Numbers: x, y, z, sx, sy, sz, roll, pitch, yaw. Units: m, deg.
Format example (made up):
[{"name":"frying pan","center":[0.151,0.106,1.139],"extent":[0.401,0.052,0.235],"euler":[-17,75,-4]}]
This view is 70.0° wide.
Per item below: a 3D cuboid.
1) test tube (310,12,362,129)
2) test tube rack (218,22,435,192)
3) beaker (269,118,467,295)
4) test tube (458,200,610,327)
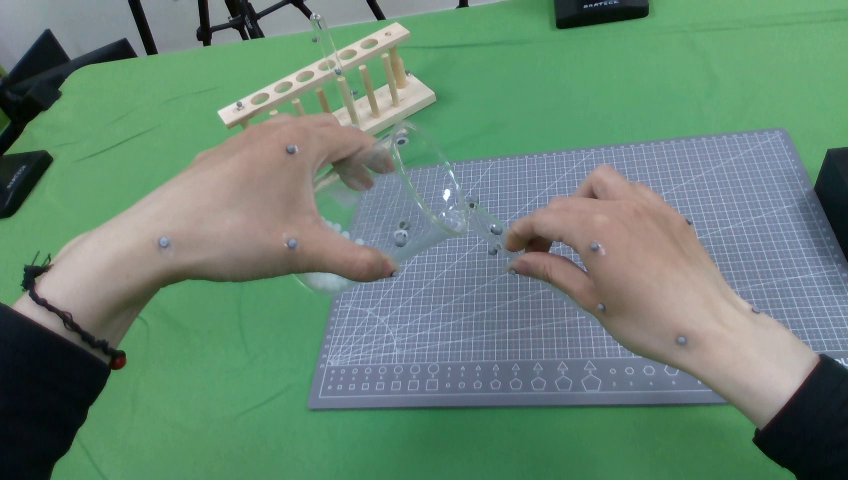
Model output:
[{"name":"test tube","center":[-0.099,-0.189,0.690],"extent":[0.017,0.152,0.017],"euler":[-8,47,9]},{"name":"test tube rack","center":[-0.112,-0.163,0.731],"extent":[0.242,0.086,0.066],"euler":[-31,49,-13]},{"name":"beaker","center":[-0.034,-0.015,0.365],"extent":[0.100,0.085,0.073],"euler":[-27,56,23]},{"name":"test tube","center":[0.079,0.020,0.414],"extent":[0.017,0.151,0.017],"euler":[-39,30,28]}]
